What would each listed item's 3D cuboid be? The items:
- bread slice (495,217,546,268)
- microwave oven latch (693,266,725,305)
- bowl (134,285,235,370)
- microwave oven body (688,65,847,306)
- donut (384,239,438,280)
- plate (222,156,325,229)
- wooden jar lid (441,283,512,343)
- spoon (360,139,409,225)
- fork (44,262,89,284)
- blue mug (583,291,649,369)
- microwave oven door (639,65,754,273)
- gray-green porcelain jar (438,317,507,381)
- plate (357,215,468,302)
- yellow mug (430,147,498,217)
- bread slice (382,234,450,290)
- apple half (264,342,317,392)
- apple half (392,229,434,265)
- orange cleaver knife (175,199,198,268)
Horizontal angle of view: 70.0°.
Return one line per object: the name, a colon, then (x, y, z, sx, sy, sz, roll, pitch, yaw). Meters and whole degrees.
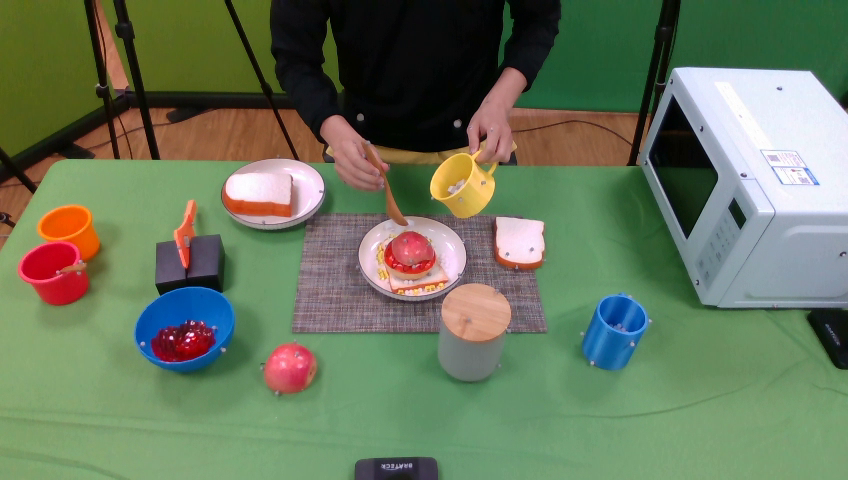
bread slice: (0.194, 0.002, 1.205, 0.105, 0.019, 0.131, 5, 45, 3)
microwave oven latch: (0.523, 0.082, 1.115, 0.030, 0.029, 0.078, 3, 46, 0)
bowl: (-0.377, 0.155, 0.981, 0.151, 0.077, 0.150, 2, 46, -2)
microwave oven body: (0.669, -0.111, 1.176, 0.326, 0.261, 0.439, 0, 46, -3)
donut: (-0.025, 0.029, 1.110, 0.099, 0.048, 0.098, 2, 46, -2)
plate: (-0.308, -0.095, 1.251, 0.209, 0.038, 0.208, 2, 47, -2)
wooden jar lid: (0.080, 0.114, 0.931, 0.108, 0.021, 0.107, 1, 49, -1)
spoon: (-0.066, -0.090, 0.992, 0.041, 0.195, 0.021, 25, 59, 39)
fork: (-0.598, 0.054, 1.014, 0.207, 0.019, 0.028, -15, 29, 45)
blue mug: (0.324, 0.142, 1.023, 0.082, 0.106, 0.116, 15, 47, 11)
microwave oven door: (0.522, -0.147, 1.193, 0.039, 0.245, 0.353, 0, 47, -3)
gray-green porcelain jar: (0.076, 0.158, 0.977, 0.106, 0.127, 0.105, 2, 47, -2)
plate: (-0.022, 0.037, 1.141, 0.208, 0.039, 0.206, 2, 46, -2)
yellow mug: (0.080, -0.112, 1.080, 0.131, 0.064, 0.099, -47, 38, 7)
bread slice: (-0.024, 0.045, 1.147, 0.107, 0.018, 0.133, -16, 56, -13)
apple half: (-0.214, 0.198, 0.970, 0.074, 0.053, 0.080, 19, 48, 10)
apple half: (-0.020, 0.005, 1.084, 0.081, 0.033, 0.081, 6, 49, -7)
orange cleaver knife: (-0.438, -0.017, 1.138, 0.012, 0.077, 0.210, -14, 27, -7)
